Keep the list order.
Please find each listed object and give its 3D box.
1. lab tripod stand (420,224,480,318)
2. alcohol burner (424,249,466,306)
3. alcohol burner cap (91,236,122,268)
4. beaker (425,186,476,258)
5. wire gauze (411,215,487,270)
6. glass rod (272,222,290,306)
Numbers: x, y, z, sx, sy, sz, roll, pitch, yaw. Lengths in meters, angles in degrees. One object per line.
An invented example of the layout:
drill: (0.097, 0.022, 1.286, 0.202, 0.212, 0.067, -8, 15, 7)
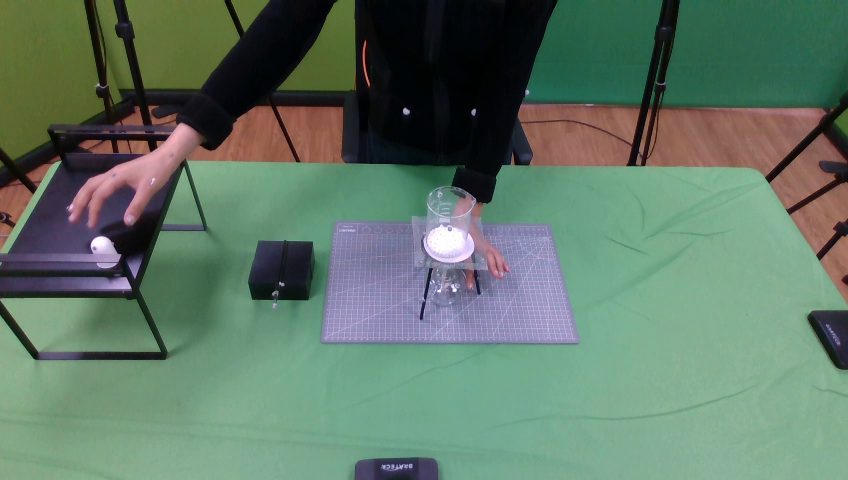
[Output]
lab tripod stand: (0.035, 0.052, 1.071, 0.148, 0.132, 0.147, 3, 48, -3)
alcohol burner: (0.038, 0.061, 1.075, 0.078, 0.120, 0.077, 1, 45, -1)
alcohol burner cap: (-0.465, 0.015, 0.883, 0.034, 0.048, 0.033, 1, 48, -1)
beaker: (0.041, -0.028, 0.989, 0.084, 0.101, 0.073, -12, 48, -15)
wire gauze: (0.041, 0.003, 1.026, 0.125, 0.011, 0.120, 0, 46, -1)
glass rod: (-0.255, 0.039, 1.084, 0.008, 0.008, 0.198, 1, 46, -3)
